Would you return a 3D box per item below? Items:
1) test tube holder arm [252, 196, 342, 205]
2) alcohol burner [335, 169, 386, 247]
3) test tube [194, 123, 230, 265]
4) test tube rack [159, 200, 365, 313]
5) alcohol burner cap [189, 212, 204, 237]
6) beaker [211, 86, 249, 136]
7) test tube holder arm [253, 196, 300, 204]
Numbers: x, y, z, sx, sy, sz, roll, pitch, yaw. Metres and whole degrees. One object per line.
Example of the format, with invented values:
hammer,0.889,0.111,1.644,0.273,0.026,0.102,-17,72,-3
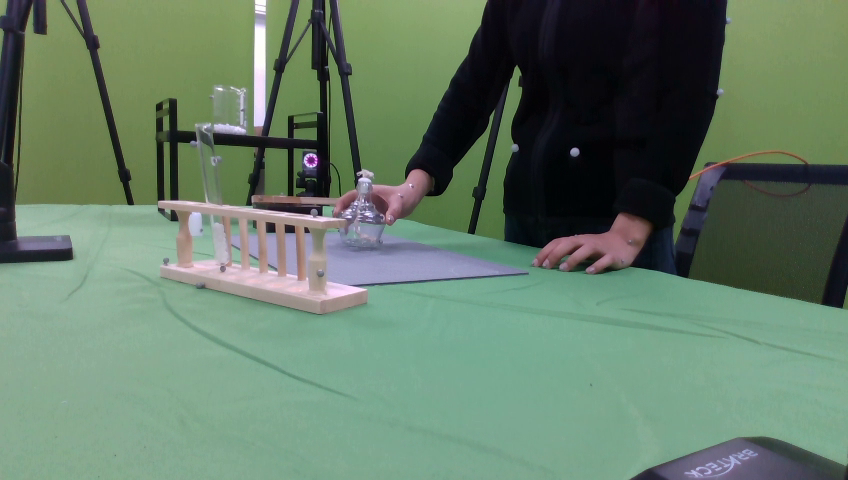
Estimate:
test tube holder arm,-0.241,-0.076,1.165,0.179,0.015,0.013,-1,8,-33
alcohol burner,-0.095,-0.050,0.924,0.078,0.119,0.078,5,3,0
test tube,-0.218,-0.045,0.624,0.017,0.150,0.017,-2,19,1
test tube rack,-0.173,0.009,0.625,0.241,0.085,0.067,7,9,34
alcohol burner cap,-0.389,-0.029,1.026,0.034,0.048,0.034,3,8,0
beaker,-0.413,-0.274,1.297,0.074,0.100,0.083,-5,11,-44
test tube holder arm,-0.276,-0.075,1.135,0.088,0.015,0.010,-1,8,-32
